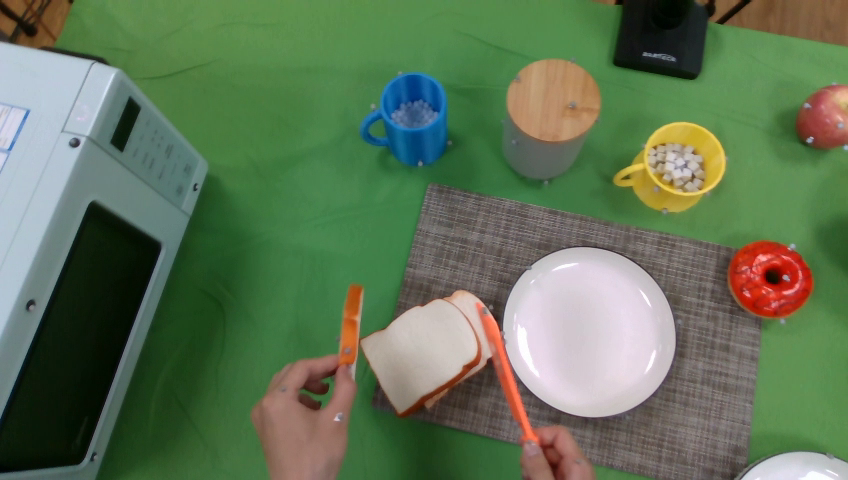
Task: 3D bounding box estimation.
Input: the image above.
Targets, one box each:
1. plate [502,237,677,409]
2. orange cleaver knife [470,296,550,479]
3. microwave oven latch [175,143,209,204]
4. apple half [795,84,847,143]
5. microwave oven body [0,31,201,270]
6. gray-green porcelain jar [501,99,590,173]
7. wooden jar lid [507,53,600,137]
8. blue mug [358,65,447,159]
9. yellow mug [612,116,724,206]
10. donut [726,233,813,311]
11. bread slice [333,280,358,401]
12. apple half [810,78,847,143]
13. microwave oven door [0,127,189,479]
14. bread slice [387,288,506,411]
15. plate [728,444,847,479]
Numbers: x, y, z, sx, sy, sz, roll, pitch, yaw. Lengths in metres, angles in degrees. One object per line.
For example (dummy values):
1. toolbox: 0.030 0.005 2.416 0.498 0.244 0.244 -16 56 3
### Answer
1. plate: 0.199 0.101 0.743 0.207 0.039 0.206 -1 75 2
2. orange cleaver knife: 0.087 0.157 0.607 0.012 0.077 0.211 -20 93 -7
3. microwave oven latch: -0.310 -0.089 0.797 0.030 0.029 0.079 16 77 6
4. apple half: 0.505 -0.156 0.784 0.033 0.081 0.081 -19 74 -7
5. microwave oven body: -0.502 0.018 0.676 0.325 0.261 0.440 13 76 5
6. gray-green porcelain jar: 0.153 -0.150 0.770 0.106 0.127 0.105 -1 74 2
7. wooden jar lid: 0.150 -0.168 0.710 0.108 0.021 0.107 -1 73 2
8. blue mug: -0.028 -0.161 0.790 0.116 0.106 0.082 -12 74 -1
9. yellow mug: 0.308 -0.098 0.781 0.131 0.064 0.099 -10 75 0
10. donut: 0.424 0.040 0.747 0.099 0.048 0.098 0 76 2
11. bread slice: -0.083 0.107 0.645 0.018 0.134 0.107 3 98 -5
12. apple half: 0.541 -0.170 0.787 0.053 0.075 0.080 -18 71 -8
13. microwave oven door: -0.373 0.089 0.647 0.039 0.245 0.354 13 76 6
14. bread slice: 0.037 0.127 0.741 0.131 0.019 0.104 -42 85 -11
15. plate: 0.426 0.335 0.675 0.209 0.038 0.208 -1 75 3
